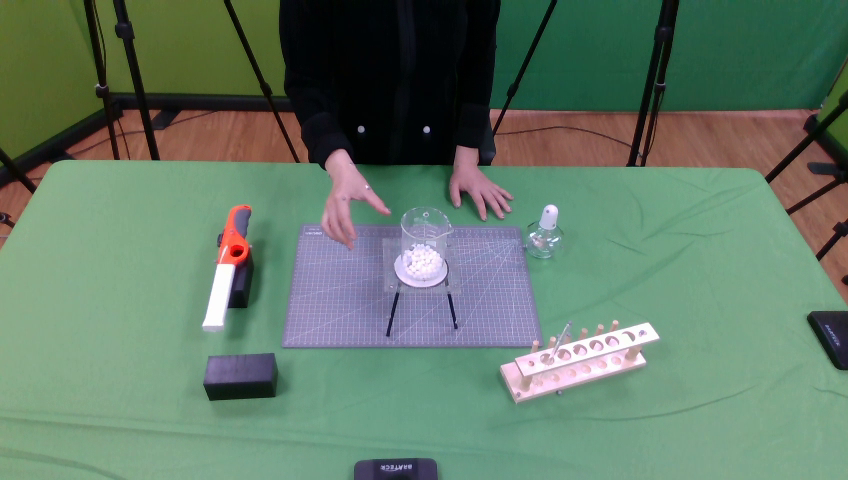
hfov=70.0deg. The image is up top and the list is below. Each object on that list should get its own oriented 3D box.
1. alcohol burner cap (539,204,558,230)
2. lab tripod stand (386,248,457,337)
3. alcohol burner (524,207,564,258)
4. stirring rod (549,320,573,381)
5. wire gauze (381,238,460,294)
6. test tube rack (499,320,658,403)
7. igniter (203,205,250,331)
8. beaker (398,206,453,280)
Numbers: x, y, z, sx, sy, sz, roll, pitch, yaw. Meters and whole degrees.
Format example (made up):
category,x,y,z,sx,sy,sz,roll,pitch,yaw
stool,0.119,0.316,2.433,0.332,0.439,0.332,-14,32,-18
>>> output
category,x,y,z,sx,sy,sz,roll,pitch,yaw
alcohol burner cap,0.239,-0.045,1.148,0.034,0.048,0.033,2,43,-1
lab tripod stand,-0.010,0.087,1.032,0.148,0.132,0.147,1,45,-1
alcohol burner,0.236,-0.021,1.174,0.078,0.120,0.077,1,48,-1
stirring rod,0.202,0.167,0.901,0.006,0.177,0.014,-17,54,-11
wire gauze,-0.007,0.042,0.985,0.125,0.011,0.120,-1,43,-2
test tube rack,0.252,0.187,0.994,0.243,0.085,0.066,-12,48,-15
igniter,-0.345,0.039,1.065,0.057,0.025,0.274,2,49,-6
beaker,0.000,0.008,0.950,0.084,0.101,0.073,10,45,6
